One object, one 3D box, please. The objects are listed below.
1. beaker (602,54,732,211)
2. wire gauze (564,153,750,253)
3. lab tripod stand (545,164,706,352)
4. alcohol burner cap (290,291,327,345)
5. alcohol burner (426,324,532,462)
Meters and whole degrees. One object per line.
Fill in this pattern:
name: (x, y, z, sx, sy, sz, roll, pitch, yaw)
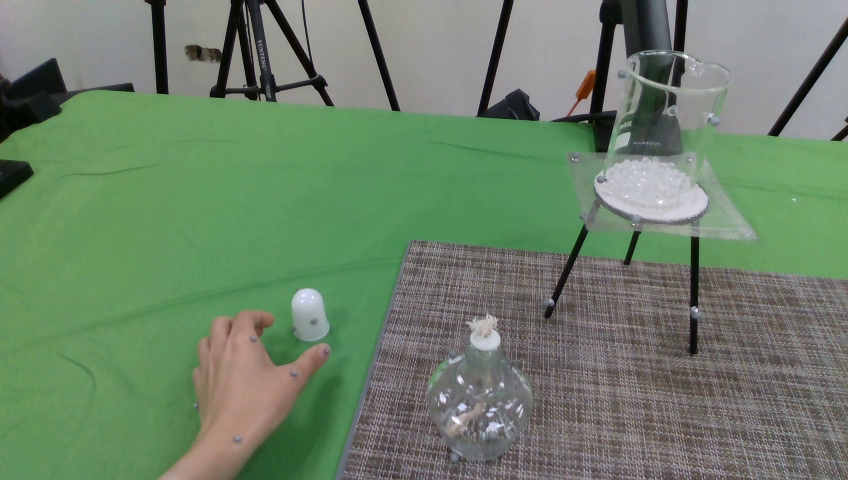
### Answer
beaker: (0.181, -0.081, 0.462, 0.073, 0.101, 0.084, 30, 46, 31)
wire gauze: (0.181, -0.037, 0.485, 0.125, 0.011, 0.120, 5, 39, 0)
lab tripod stand: (0.186, 0.013, 0.528, 0.148, 0.132, 0.147, 1, 37, -1)
alcohol burner cap: (-0.105, 0.067, 0.541, 0.034, 0.048, 0.033, 0, 38, 0)
alcohol burner: (0.040, 0.101, 0.428, 0.078, 0.120, 0.077, 1, 39, 0)
